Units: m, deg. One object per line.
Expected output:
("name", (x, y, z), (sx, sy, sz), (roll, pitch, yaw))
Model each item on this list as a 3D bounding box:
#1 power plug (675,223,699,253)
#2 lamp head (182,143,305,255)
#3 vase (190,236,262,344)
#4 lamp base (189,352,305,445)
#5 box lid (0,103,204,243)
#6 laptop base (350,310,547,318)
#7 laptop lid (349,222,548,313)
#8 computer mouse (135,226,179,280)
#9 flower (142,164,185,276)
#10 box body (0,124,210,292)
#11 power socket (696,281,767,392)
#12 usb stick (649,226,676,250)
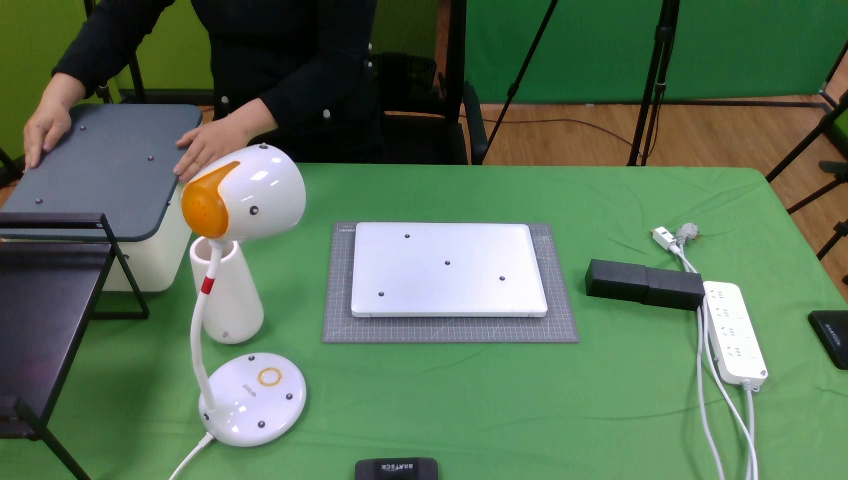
("power plug", (0.537, 0.000, 1.243), (0.053, 0.035, 0.072), (18, 82, -17))
("lamp head", (-0.216, -0.044, 0.697), (0.112, 0.113, 0.123), (23, 31, 17))
("vase", (-0.317, 0.081, 0.971), (0.098, 0.201, 0.097), (3, 47, -3))
("lamp base", (-0.268, 0.196, 0.876), (0.160, 0.181, 0.179), (25, 52, 20))
("box lid", (-0.563, -0.132, 1.079), (0.263, 0.015, 0.369), (1, 46, -3))
("laptop base", (0.041, 0.056, 1.149), (0.355, 0.023, 0.234), (0, 43, -4))
("laptop lid", (0.042, 0.046, 1.142), (0.357, 0.013, 0.240), (2, 44, -3))
("computer mouse", (-0.492, 0.020, 1.118), (0.063, 0.041, 0.116), (1, 54, -10))
("flower", (-0.492, -0.055, 1.173), (0.044, 0.038, 0.359), (-39, 34, 18))
("box body", (-0.568, -0.082, 1.134), (0.254, 0.161, 0.361), (2, 46, -3))
("power socket", (0.543, 0.161, 1.077), (0.072, 0.033, 0.225), (6, 46, 2))
("usb stick", (0.485, -0.008, 1.237), (0.021, 0.027, 0.059), (-22, 44, -14))
